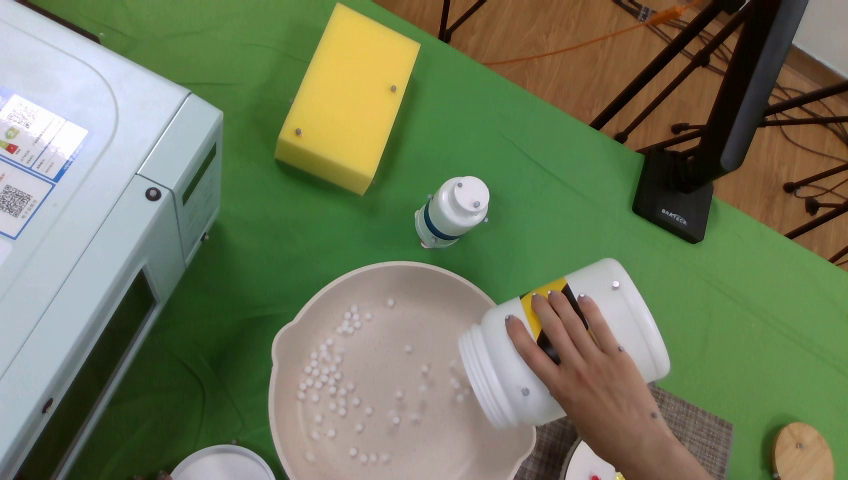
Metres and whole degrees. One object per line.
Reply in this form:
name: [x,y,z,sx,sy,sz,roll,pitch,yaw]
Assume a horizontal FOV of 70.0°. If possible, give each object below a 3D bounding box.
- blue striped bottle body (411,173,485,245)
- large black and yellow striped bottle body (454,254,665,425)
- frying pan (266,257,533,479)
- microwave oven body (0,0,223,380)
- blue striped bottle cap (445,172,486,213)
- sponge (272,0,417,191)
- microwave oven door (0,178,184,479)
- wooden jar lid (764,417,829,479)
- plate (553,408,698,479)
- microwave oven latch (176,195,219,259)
blue striped bottle body: [0.031,-0.039,0.732,0.063,0.121,0.062,6,72,-18]
large black and yellow striped bottle body: [0.136,0.108,0.629,0.184,0.131,0.130,-25,82,9]
frying pan: [-0.057,0.251,0.623,0.308,0.103,0.484,25,60,-9]
microwave oven body: [-0.412,0.038,0.469,0.327,0.260,0.439,27,68,-11]
blue striped bottle cap: [0.048,-0.054,0.686,0.045,0.020,0.044,5,74,-18]
sponge: [-0.097,-0.181,0.759,0.119,0.061,0.205,21,69,-12]
microwave oven door: [-0.297,0.138,0.475,0.039,0.244,0.354,27,67,-10]
wooden jar lid: [0.531,0.309,0.867,0.109,0.021,0.108,5,74,-18]
plate: [0.247,0.316,0.749,0.210,0.038,0.208,6,73,-18]
microwave oven latch: [-0.249,-0.020,0.650,0.030,0.029,0.079,29,68,-10]
